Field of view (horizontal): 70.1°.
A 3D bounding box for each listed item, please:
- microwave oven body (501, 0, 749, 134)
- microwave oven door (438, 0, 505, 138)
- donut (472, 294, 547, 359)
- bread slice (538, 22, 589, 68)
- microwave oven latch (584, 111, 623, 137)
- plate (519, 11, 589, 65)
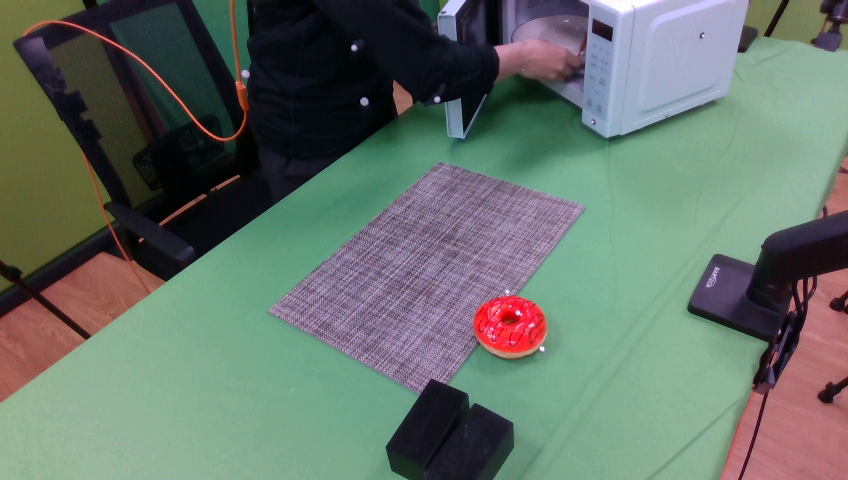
[{"bbox_3d":[0.382,-0.444,1.246,0.327,0.261,0.437,-22,42,-16],"label":"microwave oven body"},{"bbox_3d":[0.106,-0.406,1.232,0.039,0.245,0.355,7,43,18],"label":"microwave oven door"},{"bbox_3d":[0.114,0.114,0.803,0.099,0.048,0.098,0,40,1],"label":"donut"},{"bbox_3d":[0.313,-0.422,1.291,0.104,0.019,0.131,24,57,18],"label":"bread slice"},{"bbox_3d":[0.337,-0.222,1.142,0.030,0.029,0.078,-21,42,-14],"label":"microwave oven latch"},{"bbox_3d":[0.304,-0.423,1.281,0.208,0.039,0.206,0,45,1],"label":"plate"}]
